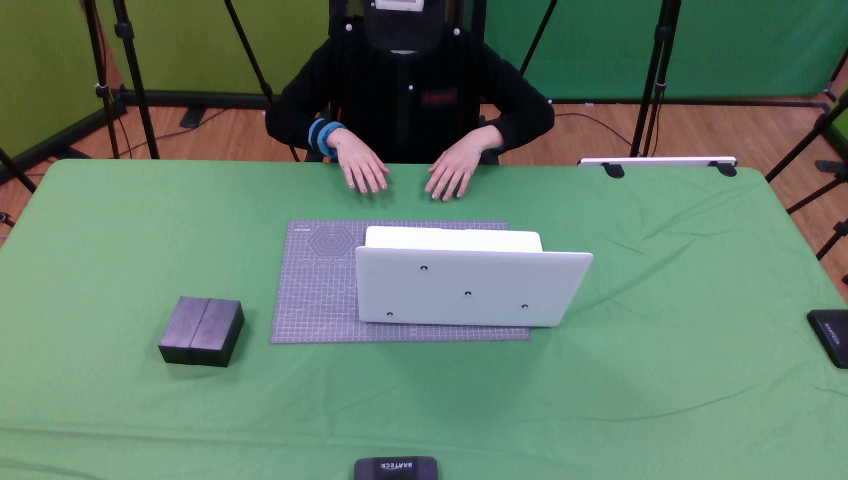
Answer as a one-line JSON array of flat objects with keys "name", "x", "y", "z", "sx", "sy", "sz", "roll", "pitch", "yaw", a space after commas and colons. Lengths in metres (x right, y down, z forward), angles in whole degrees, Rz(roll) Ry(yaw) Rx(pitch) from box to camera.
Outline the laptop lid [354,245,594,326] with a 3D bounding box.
[{"name": "laptop lid", "x": 0.069, "y": 0.080, "z": 0.964, "sx": 0.357, "sy": 0.243, "sz": 0.013, "roll": 2, "pitch": 55, "yaw": -4}]

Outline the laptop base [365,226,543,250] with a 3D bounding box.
[{"name": "laptop base", "x": 0.061, "y": 0.063, "z": 1.144, "sx": 0.354, "sy": 0.023, "sz": 0.234, "roll": 2, "pitch": 43, "yaw": -3}]
